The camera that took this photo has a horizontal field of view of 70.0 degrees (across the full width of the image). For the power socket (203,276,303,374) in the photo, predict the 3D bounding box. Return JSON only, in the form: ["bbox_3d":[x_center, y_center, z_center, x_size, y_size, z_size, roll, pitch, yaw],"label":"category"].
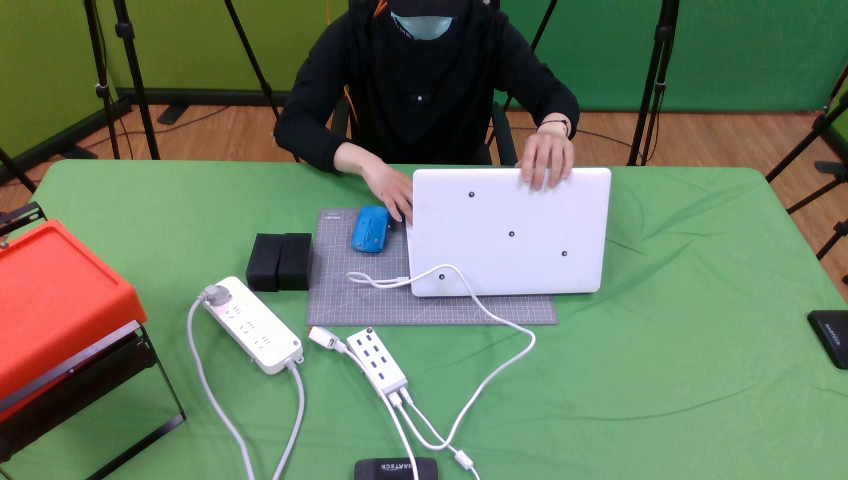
[{"bbox_3d":[-0.296,0.141,1.034,0.072,0.033,0.225,-35,58,-30],"label":"power socket"}]

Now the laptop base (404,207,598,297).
[{"bbox_3d":[0.143,0.018,1.196,0.355,0.023,0.234,-1,43,-6],"label":"laptop base"}]

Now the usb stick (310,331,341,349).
[{"bbox_3d":[-0.171,0.166,1.020,0.059,0.027,0.021,8,89,26],"label":"usb stick"}]

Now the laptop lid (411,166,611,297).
[{"bbox_3d":[0.154,-0.014,1.075,0.357,0.242,0.013,0,15,-6],"label":"laptop lid"}]

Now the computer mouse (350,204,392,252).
[{"bbox_3d":[-0.104,-0.027,1.202,0.063,0.041,0.116,11,51,4],"label":"computer mouse"}]

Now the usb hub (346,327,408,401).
[{"bbox_3d":[-0.078,0.202,0.998,0.049,0.025,0.124,-23,53,-24],"label":"usb hub"}]

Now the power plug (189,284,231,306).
[{"bbox_3d":[-0.368,0.100,1.037,0.072,0.053,0.035,-23,54,-26],"label":"power plug"}]

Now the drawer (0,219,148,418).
[{"bbox_3d":[-0.509,0.093,0.783,0.193,0.073,0.211,32,53,24],"label":"drawer"}]

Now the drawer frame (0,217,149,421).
[{"bbox_3d":[-0.510,0.093,0.780,0.201,0.083,0.213,31,52,23],"label":"drawer frame"}]
